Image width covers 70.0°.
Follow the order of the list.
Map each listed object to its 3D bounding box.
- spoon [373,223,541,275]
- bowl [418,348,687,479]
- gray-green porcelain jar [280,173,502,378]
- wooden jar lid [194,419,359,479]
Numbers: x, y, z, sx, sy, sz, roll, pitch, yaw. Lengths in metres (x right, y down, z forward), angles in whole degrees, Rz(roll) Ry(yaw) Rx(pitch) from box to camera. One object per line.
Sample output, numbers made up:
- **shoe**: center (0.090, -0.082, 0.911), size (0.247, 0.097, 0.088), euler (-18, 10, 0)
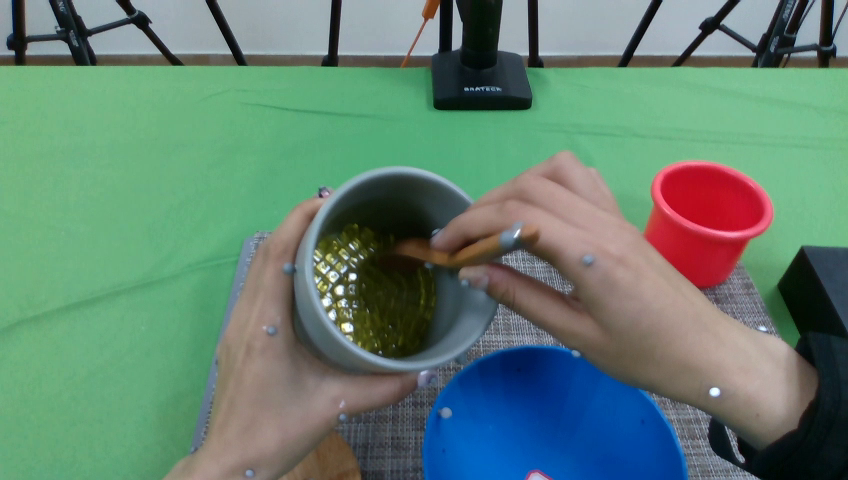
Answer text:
- **spoon**: center (0.012, 0.008, 0.315), size (0.042, 0.193, 0.021), euler (1, 87, -19)
- **bowl**: center (0.071, 0.150, 0.369), size (0.151, 0.077, 0.150), euler (1, 45, -1)
- **gray-green porcelain jar**: center (-0.029, 0.029, 0.361), size (0.106, 0.126, 0.105), euler (5, 77, -19)
- **wooden jar lid**: center (-0.095, 0.167, 0.387), size (0.108, 0.021, 0.107), euler (1, 44, 0)
